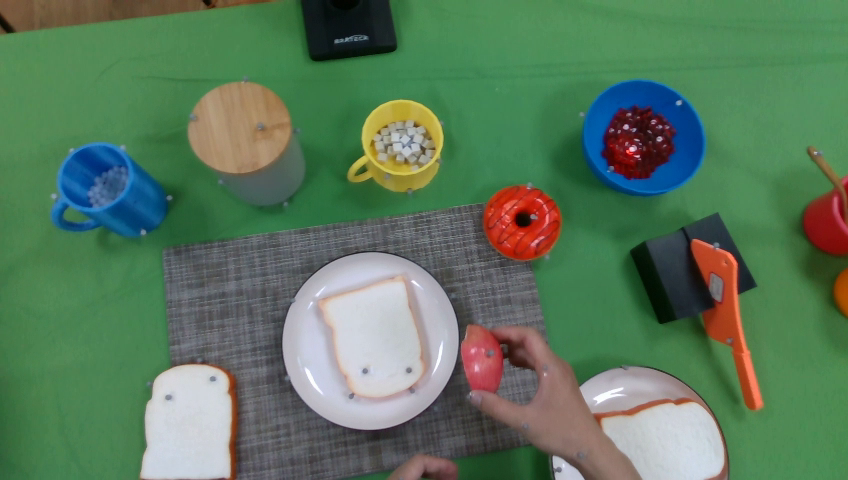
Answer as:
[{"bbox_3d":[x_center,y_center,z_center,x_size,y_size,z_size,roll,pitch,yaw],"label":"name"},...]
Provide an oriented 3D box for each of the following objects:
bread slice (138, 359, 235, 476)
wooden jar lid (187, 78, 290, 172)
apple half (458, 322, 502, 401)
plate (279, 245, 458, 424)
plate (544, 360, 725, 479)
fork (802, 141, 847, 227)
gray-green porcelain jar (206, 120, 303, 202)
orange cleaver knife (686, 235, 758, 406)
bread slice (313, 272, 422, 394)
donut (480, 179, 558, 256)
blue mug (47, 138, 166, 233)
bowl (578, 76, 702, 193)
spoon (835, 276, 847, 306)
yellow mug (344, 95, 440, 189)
[{"bbox_3d":[-0.271,0.203,0.695,0.105,0.019,0.131,-1,78,-4],"label":"bread slice"},{"bbox_3d":[-0.200,-0.123,0.660,0.108,0.021,0.108,1,75,-2],"label":"wooden jar lid"},{"bbox_3d":[0.063,0.120,0.608,0.033,0.082,0.081,-15,76,18],"label":"apple half"},{"bbox_3d":[-0.065,0.110,0.717,0.208,0.039,0.206,1,76,-3],"label":"plate"},{"bbox_3d":[0.240,0.245,0.706,0.209,0.038,0.208,1,77,-2],"label":"plate"},{"bbox_3d":[0.499,-0.063,0.735,0.209,0.018,0.028,33,71,-37],"label":"fork"},{"bbox_3d":[-0.203,-0.108,0.720,0.106,0.127,0.105,1,76,-3],"label":"gray-green porcelain jar"},{"bbox_3d":[0.354,0.095,0.725,0.012,0.077,0.212,-19,100,-14],"label":"orange cleaver knife"},{"bbox_3d":[-0.059,0.113,0.718,0.107,0.018,0.133,-20,78,-6],"label":"bread slice"},{"bbox_3d":[0.118,-0.028,0.757,0.099,0.048,0.098,1,77,-3],"label":"donut"},{"bbox_3d":[-0.376,-0.052,0.707,0.116,0.106,0.082,-34,80,-10],"label":"blue mug"},{"bbox_3d":[0.263,-0.123,0.773,0.151,0.077,0.150,1,77,-3],"label":"bowl"},{"bbox_3d":[0.597,0.037,0.717,0.022,0.193,0.041,0,69,-49],"label":"spoon"},{"bbox_3d":[-0.044,-0.114,0.761,0.131,0.064,0.099,-32,80,-9],"label":"yellow mug"}]
